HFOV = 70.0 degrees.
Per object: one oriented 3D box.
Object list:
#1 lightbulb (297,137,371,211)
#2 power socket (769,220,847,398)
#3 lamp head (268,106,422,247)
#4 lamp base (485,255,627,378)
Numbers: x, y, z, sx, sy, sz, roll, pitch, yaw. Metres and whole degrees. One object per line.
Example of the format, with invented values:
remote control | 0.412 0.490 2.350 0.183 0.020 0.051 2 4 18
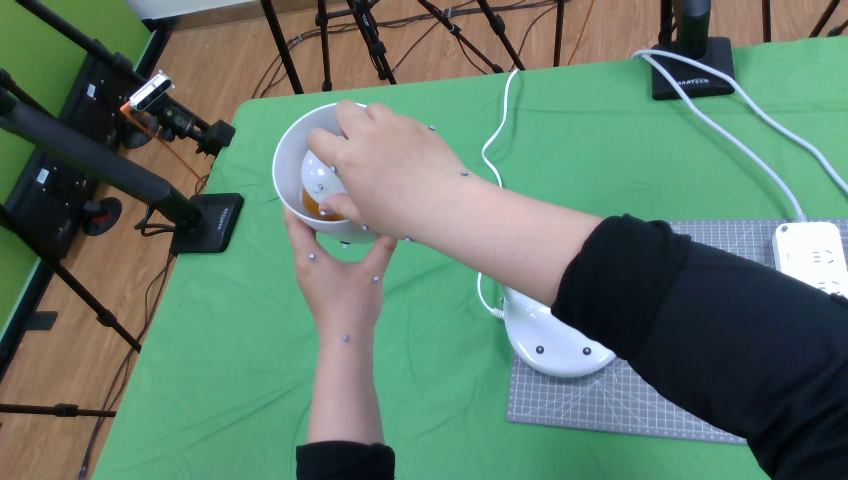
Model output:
lightbulb | -0.071 -0.049 0.520 0.059 0.108 0.059 -1 77 6
power socket | 0.464 0.073 0.720 0.072 0.033 0.225 -1 59 18
lamp head | -0.062 -0.043 0.544 0.112 0.124 0.111 -5 68 12
lamp base | 0.150 0.068 0.745 0.178 0.182 0.159 -7 58 19
